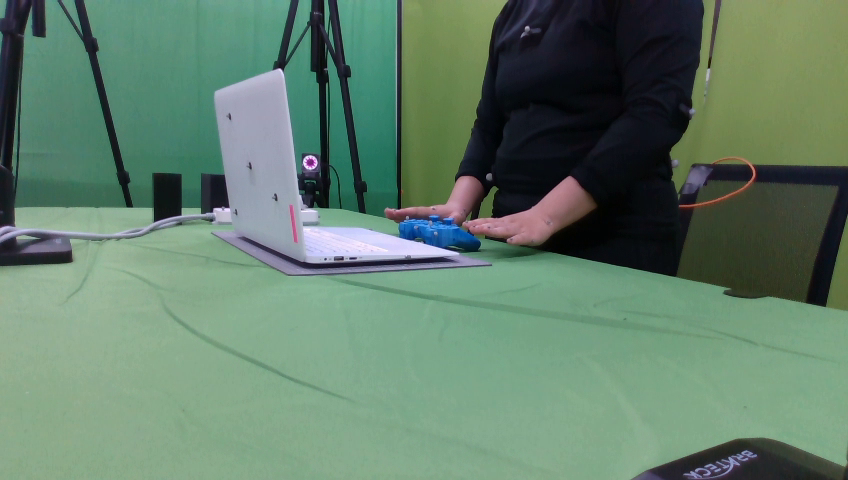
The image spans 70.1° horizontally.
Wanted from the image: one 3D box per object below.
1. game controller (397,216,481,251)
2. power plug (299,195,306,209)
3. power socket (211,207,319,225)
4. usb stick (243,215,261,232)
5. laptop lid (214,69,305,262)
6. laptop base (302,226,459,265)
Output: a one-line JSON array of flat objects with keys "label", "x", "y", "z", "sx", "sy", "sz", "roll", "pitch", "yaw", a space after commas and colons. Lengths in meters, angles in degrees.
[{"label": "game controller", "x": 0.020, "y": -0.013, "z": 1.052, "sx": 0.097, "sy": 0.051, "sz": 0.154, "roll": -4, "pitch": 9, "yaw": -30}, {"label": "power plug", "x": -0.283, "y": -0.075, "z": 1.342, "sx": 0.035, "sy": 0.052, "sz": 0.072, "roll": 0, "pitch": 3, "yaw": -18}, {"label": "power socket", "x": -0.334, "y": -0.051, "z": 1.281, "sx": 0.228, "sy": 0.032, "sz": 0.072, "roll": -1, "pitch": 9, "yaw": -29}, {"label": "usb stick", "x": -0.302, "y": -0.028, "z": 1.070, "sx": 0.021, "sy": 0.027, "sz": 0.059, "roll": -1, "pitch": 12, "yaw": -30}, {"label": "laptop lid", "x": -0.246, "y": -0.107, "z": 0.865, "sx": 0.013, "sy": 0.241, "sz": 0.355, "roll": -11, "pitch": 14, "yaw": -30}, {"label": "laptop base", "x": -0.136, "y": 0.006, "z": 0.951, "sx": 0.237, "sy": 0.023, "sz": 0.352, "roll": 2, "pitch": 6, "yaw": -32}]
